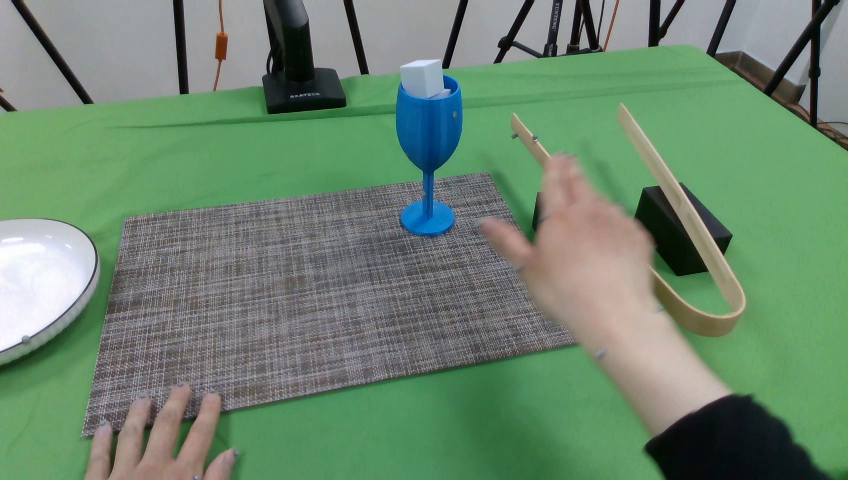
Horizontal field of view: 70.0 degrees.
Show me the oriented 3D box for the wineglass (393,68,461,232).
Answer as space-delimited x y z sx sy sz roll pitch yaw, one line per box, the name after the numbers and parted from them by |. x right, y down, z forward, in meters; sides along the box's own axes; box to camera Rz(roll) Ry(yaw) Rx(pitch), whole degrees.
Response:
0.003 -0.095 0.667 0.074 0.174 0.073 1 41 0 | wineglass

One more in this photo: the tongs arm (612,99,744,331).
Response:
0.267 -0.054 0.674 0.028 0.028 0.383 3 41 -6 | tongs arm

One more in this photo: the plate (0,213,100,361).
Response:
-0.427 0.051 0.595 0.209 0.038 0.207 1 41 0 | plate

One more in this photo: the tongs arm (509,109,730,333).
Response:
0.188 -0.044 0.660 0.051 0.027 0.380 -9 42 -14 | tongs arm
